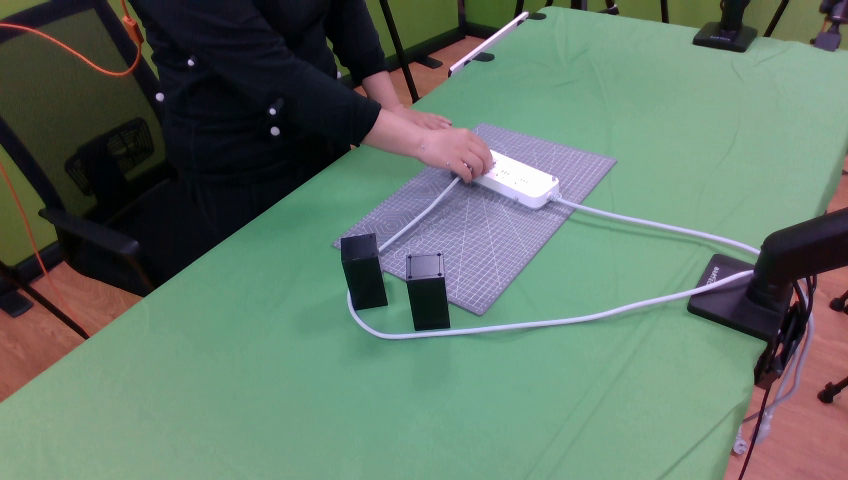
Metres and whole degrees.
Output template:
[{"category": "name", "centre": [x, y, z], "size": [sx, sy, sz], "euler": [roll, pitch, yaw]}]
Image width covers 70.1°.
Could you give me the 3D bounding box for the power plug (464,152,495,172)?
[{"category": "power plug", "centre": [0.093, -0.128, 1.066], "size": [0.073, 0.053, 0.035], "euler": [-28, 44, -19]}]

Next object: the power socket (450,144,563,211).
[{"category": "power socket", "centre": [0.139, -0.115, 1.072], "size": [0.072, 0.033, 0.225], "euler": [-36, 48, -29]}]
